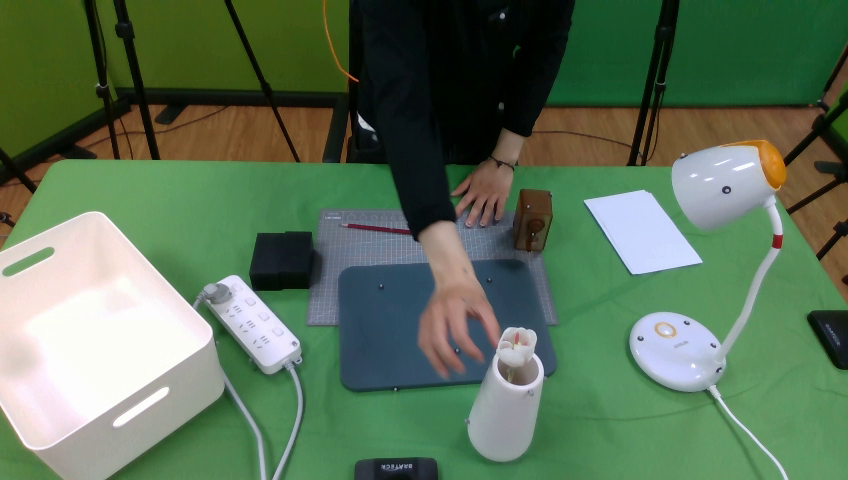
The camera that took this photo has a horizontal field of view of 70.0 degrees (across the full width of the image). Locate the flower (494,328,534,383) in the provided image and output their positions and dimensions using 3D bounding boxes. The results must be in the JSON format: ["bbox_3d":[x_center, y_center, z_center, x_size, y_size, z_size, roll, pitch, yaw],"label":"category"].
[{"bbox_3d":[0.109,0.187,0.791,0.044,0.363,0.038,-31,65,-11],"label":"flower"}]

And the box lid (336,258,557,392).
[{"bbox_3d":[0.030,0.140,1.073,0.372,0.015,0.261,-3,47,-7],"label":"box lid"}]

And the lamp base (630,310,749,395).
[{"bbox_3d":[0.447,0.143,0.984,0.161,0.181,0.178,-24,55,-24],"label":"lamp base"}]

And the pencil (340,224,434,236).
[{"bbox_3d":[-0.076,-0.022,1.219,0.194,0.012,0.012,6,46,4],"label":"pencil"}]

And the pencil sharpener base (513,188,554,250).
[{"bbox_3d":[0.213,-0.038,1.187,0.061,0.107,0.076,5,47,0],"label":"pencil sharpener base"}]

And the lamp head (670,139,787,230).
[{"bbox_3d":[0.415,-0.078,0.812,0.113,0.123,0.112,12,70,-37],"label":"lamp head"}]

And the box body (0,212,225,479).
[{"bbox_3d":[-0.504,0.154,0.916,0.362,0.161,0.254,36,54,27],"label":"box body"}]

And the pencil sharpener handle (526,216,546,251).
[{"bbox_3d":[0.208,-0.010,1.143,0.036,0.068,0.030,9,47,-4],"label":"pencil sharpener handle"}]

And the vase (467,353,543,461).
[{"bbox_3d":[0.116,0.234,0.861,0.098,0.201,0.097,1,47,-1],"label":"vase"}]

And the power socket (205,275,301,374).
[{"bbox_3d":[-0.296,0.140,1.035,0.072,0.033,0.225,-32,57,-29],"label":"power socket"}]

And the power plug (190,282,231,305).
[{"bbox_3d":[-0.368,0.098,1.039,0.072,0.053,0.035,-26,55,-20],"label":"power plug"}]
